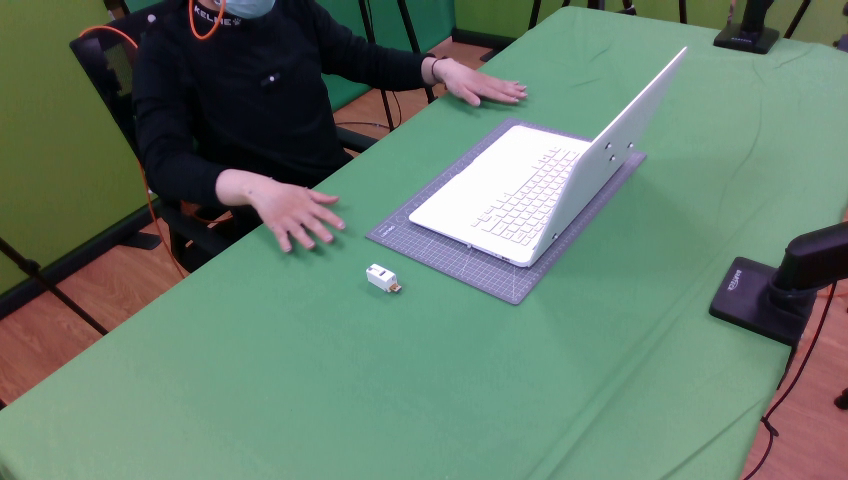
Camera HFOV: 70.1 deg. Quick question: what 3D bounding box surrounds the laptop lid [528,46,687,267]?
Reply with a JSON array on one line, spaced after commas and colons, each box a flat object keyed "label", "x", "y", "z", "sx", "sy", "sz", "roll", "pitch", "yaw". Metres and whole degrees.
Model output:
[{"label": "laptop lid", "x": 0.277, "y": -0.126, "z": 0.903, "sx": 0.013, "sy": 0.242, "sz": 0.358, "roll": 35, "pitch": 53, "yaw": 17}]

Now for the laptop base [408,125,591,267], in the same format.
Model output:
[{"label": "laptop base", "x": 0.168, "y": -0.092, "z": 1.054, "sx": 0.233, "sy": 0.023, "sz": 0.355, "roll": 21, "pitch": 47, "yaw": 33}]

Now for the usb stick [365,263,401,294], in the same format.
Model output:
[{"label": "usb stick", "x": -0.059, "y": 0.060, "z": 0.904, "sx": 0.058, "sy": 0.027, "sz": 0.021, "roll": 28, "pitch": 51, "yaw": 30}]
